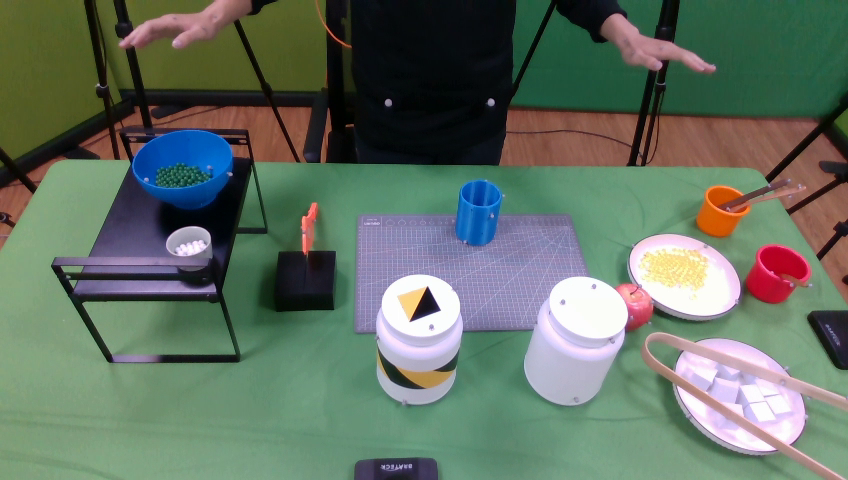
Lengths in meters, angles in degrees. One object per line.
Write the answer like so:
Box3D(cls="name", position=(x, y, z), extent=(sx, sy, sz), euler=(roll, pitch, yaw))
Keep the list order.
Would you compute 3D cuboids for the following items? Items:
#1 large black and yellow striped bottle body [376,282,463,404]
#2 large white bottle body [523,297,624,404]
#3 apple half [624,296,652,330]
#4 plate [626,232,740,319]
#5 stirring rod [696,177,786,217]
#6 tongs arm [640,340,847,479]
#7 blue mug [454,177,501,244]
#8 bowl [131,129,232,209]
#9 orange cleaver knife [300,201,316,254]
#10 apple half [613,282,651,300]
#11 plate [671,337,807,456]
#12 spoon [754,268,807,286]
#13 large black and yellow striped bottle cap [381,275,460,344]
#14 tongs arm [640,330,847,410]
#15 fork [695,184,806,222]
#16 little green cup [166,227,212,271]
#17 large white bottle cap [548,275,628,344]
Box3D(cls="large black and yellow striped bottle body", position=(-0.010, 0.155, 0.937), extent=(0.131, 0.185, 0.130), euler=(2, 47, -2))
Box3D(cls="large white bottle body", position=(0.235, 0.159, 0.952), extent=(0.131, 0.185, 0.130), euler=(2, 47, -2))
Box3D(cls="apple half", position=(0.368, 0.135, 1.060), extent=(0.081, 0.081, 0.032), euler=(-11, 43, -15))
Box3D(cls="plate", position=(0.488, 0.071, 1.157), extent=(0.209, 0.038, 0.208), euler=(3, 46, -3))
Box3D(cls="stirring rod", position=(0.648, -0.087, 1.244), extent=(0.176, 0.006, 0.014), euler=(-25, 50, 29))
Box3D(cls="tongs arm", position=(0.500, 0.277, 0.919), extent=(0.386, 0.028, 0.028), euler=(34, 59, 22))
Box3D(cls="blue mug", position=(0.106, -0.067, 1.208), extent=(0.082, 0.106, 0.116), euler=(6, 46, 1))
Box3D(cls="bowl", position=(-0.381, -0.103, 0.978), extent=(0.151, 0.077, 0.150), euler=(2, 46, -2))
Box3D(cls="orange cleaver knife", position=(-0.221, -0.027, 1.160), extent=(0.012, 0.077, 0.210), euler=(-1, 15, -4))
Box3D(cls="apple half", position=(0.356, 0.109, 1.086), extent=(0.081, 0.075, 0.053), euler=(-14, 44, -12))
Box3D(cls="plate", position=(0.503, 0.254, 0.984), extent=(0.208, 0.039, 0.206), euler=(2, 46, -2))
Box3D(cls="spoon", position=(0.647, 0.065, 1.100), extent=(0.041, 0.021, 0.194), euler=(15, 3, 10))
Box3D(cls="large black and yellow striped bottle cap", position=(-0.005, 0.098, 0.875), extent=(0.115, 0.019, 0.114), euler=(2, 45, -2))
Box3D(cls="tongs arm", position=(0.543, 0.225, 0.969), extent=(0.384, 0.026, 0.050), euler=(22, 52, 13))
Box3D(cls="fork", position=(0.658, -0.074, 1.230), extent=(0.207, 0.019, 0.028), euler=(-24, 33, 36))
Box3D(cls="little green cup", position=(-0.344, 0.014, 0.895), extent=(0.061, 0.039, 0.061), euler=(3, 46, -3))
Box3D(cls="large white bottle cap", position=(0.240, 0.100, 0.890), extent=(0.115, 0.018, 0.114), euler=(3, 47, -3))
